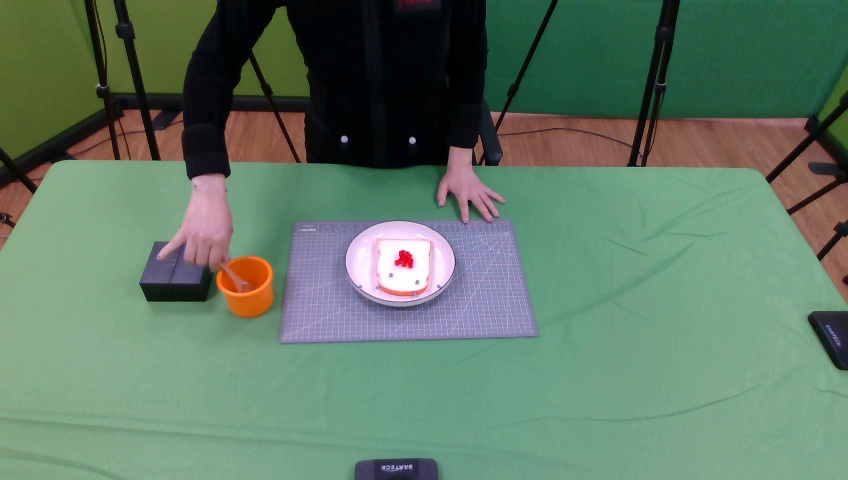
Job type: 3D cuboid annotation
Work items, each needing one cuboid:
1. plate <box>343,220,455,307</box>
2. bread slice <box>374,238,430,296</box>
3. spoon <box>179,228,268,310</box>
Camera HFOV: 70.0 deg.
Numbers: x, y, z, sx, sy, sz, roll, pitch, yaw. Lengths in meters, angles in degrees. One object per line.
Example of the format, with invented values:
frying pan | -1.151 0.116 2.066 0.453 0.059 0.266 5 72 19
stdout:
plate | -0.047 0.046 1.135 0.209 0.038 0.208 2 46 -2
bread slice | -0.039 0.048 1.135 0.107 0.018 0.133 -1 47 -4
spoon | -0.342 0.048 1.037 0.021 0.194 0.041 -19 28 43
